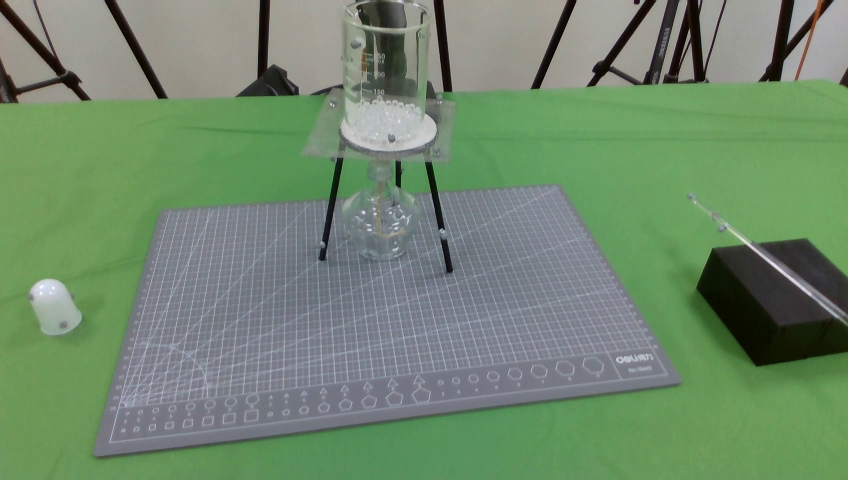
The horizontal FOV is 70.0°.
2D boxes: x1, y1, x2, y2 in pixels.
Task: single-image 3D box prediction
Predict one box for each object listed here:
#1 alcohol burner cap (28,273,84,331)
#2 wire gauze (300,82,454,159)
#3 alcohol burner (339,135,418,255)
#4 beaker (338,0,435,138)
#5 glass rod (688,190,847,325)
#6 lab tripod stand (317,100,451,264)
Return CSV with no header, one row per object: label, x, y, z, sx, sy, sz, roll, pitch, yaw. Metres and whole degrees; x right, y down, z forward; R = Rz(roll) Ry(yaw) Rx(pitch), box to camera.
alcohol burner cap,-0.312,0.050,0.510,0.034,0.048,0.033,1,39,-1
wire gauze,-0.036,-0.105,0.536,0.121,0.011,0.124,5,42,2
alcohol burner,-0.044,-0.045,0.582,0.078,0.120,0.077,1,38,0
beaker,-0.036,-0.144,0.507,0.083,0.101,0.074,29,45,27
glass rod,0.307,0.010,0.548,0.008,0.008,0.197,-12,42,-17
lab tripod stand,-0.032,-0.054,0.578,0.148,0.132,0.147,3,39,-2
